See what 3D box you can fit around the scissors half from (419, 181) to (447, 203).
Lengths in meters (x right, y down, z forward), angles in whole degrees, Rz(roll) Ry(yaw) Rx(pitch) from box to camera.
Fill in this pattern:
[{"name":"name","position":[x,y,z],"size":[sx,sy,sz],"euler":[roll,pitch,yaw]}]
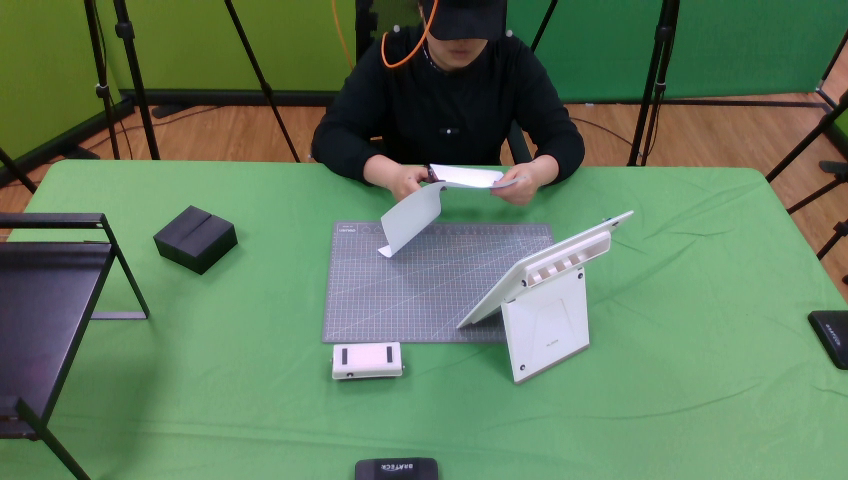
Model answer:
[{"name":"scissors half","position":[0.020,-0.096,1.159],"size":[0.013,0.175,0.040],"euler":[-34,94,-12]}]

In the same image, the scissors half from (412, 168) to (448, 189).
[{"name":"scissors half","position":[0.011,-0.113,1.155],"size":[0.013,0.040,0.174],"euler":[-29,21,-14]}]

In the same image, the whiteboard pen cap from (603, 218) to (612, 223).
[{"name":"whiteboard pen cap","position":[0.379,-0.031,1.255],"size":[0.033,0.018,0.018],"euler":[-33,56,-30]}]

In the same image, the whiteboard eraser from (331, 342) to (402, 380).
[{"name":"whiteboard eraser","position":[-0.094,0.198,0.986],"size":[0.113,0.042,0.055],"euler":[-2,44,-6]}]

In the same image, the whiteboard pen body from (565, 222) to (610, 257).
[{"name":"whiteboard pen body","position":[0.335,-0.004,1.228],"size":[0.141,0.017,0.017],"euler":[-33,56,-29]}]

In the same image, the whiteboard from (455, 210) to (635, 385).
[{"name":"whiteboard","position":[0.211,0.111,0.955],"size":[0.217,0.306,0.143],"euler":[-21,71,-23]}]
